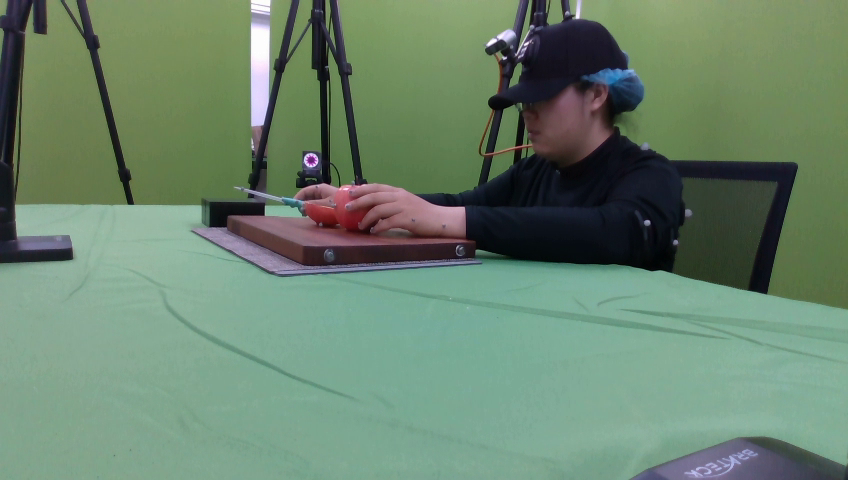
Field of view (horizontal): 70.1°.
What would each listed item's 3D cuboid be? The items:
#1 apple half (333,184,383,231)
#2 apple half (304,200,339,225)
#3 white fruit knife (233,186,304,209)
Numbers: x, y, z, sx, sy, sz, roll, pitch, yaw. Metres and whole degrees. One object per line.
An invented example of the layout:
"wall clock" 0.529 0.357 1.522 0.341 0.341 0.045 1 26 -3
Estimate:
"apple half" -0.097 -0.050 0.948 0.081 0.074 0.053 0 12 -43
"apple half" -0.163 -0.040 1.000 0.081 0.033 0.081 15 -2 1
"white fruit knife" -0.282 -0.080 1.219 0.208 0.016 0.027 14 -16 -27
